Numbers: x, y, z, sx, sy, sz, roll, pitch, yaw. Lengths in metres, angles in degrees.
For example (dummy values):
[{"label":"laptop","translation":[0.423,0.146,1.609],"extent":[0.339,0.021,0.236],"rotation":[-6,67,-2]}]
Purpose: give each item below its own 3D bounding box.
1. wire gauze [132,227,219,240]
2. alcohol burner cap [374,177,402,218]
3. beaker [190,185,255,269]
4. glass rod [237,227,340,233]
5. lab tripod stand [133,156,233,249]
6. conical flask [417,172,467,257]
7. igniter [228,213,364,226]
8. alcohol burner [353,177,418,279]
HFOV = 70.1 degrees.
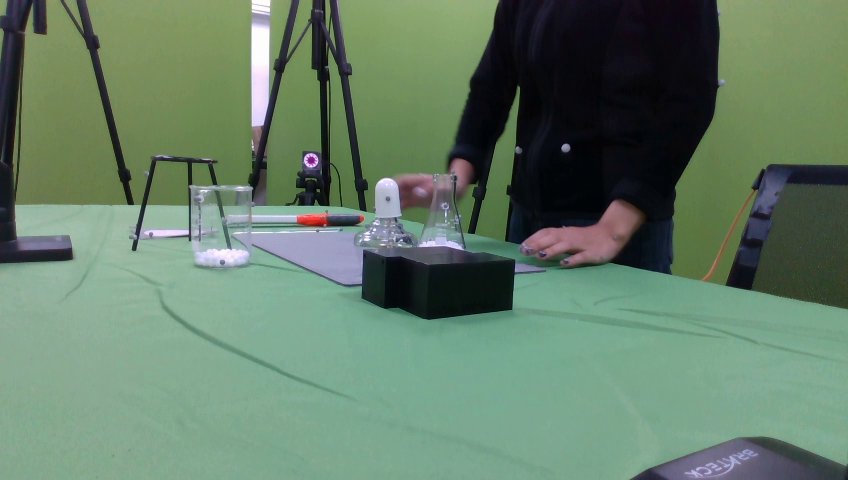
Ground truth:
[{"label":"wire gauze","translation":[-0.421,-0.014,1.024],"extent":[0.122,0.011,0.124],"rotation":[-2,7,-34]},{"label":"alcohol burner cap","translation":[-0.044,-0.049,0.704],"extent":[0.034,0.048,0.034],"rotation":[-4,10,1]},{"label":"beaker","translation":[-0.253,-0.018,0.754],"extent":[0.083,0.100,0.074],"rotation":[6,8,32]},{"label":"glass rod","translation":[-0.247,-0.020,1.123],"extent":[0.201,0.008,0.008],"rotation":[-2,8,-34]},{"label":"lab tripod stand","translation":[-0.342,-0.054,0.878],"extent":[0.148,0.131,0.148],"rotation":[4,6,0]},{"label":"conical flask","translation":[0.029,-0.039,0.897],"extent":[0.075,0.122,0.075],"rotation":[2,8,0]},{"label":"igniter","translation":[-0.252,-0.042,1.227],"extent":[0.278,0.025,0.057],"rotation":[-3,-2,-32]},{"label":"alcohol burner","translation":[-0.044,-0.014,0.710],"extent":[0.078,0.119,0.078],"rotation":[4,9,0]}]
